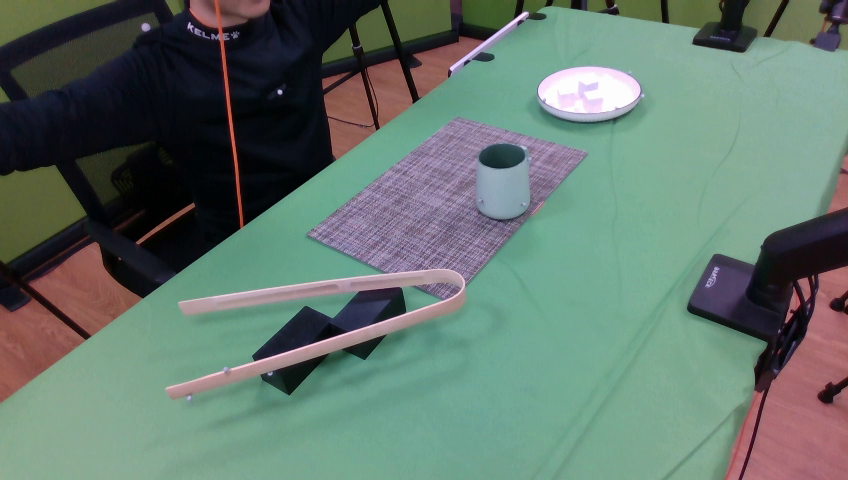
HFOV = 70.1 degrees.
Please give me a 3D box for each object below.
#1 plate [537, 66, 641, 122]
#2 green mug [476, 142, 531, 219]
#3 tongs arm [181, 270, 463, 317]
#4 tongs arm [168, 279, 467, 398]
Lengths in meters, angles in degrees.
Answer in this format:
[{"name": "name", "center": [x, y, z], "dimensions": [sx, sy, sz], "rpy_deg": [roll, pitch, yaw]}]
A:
[{"name": "plate", "center": [0.338, -0.299, 1.255], "dimensions": [0.209, 0.038, 0.208], "rpy_deg": [-4, 41, 4]}, {"name": "green mug", "center": [0.140, -0.106, 1.002], "dimensions": [0.092, 0.105, 0.125], "rpy_deg": [21, 48, 30]}, {"name": "tongs arm", "center": [-0.139, 0.075, 0.828], "dimensions": [0.388, 0.028, 0.028], "rpy_deg": [-7, 33, 1]}, {"name": "tongs arm", "center": [-0.124, 0.122, 0.767], "dimensions": [0.386, 0.026, 0.050], "rpy_deg": [-15, 37, -9]}]
